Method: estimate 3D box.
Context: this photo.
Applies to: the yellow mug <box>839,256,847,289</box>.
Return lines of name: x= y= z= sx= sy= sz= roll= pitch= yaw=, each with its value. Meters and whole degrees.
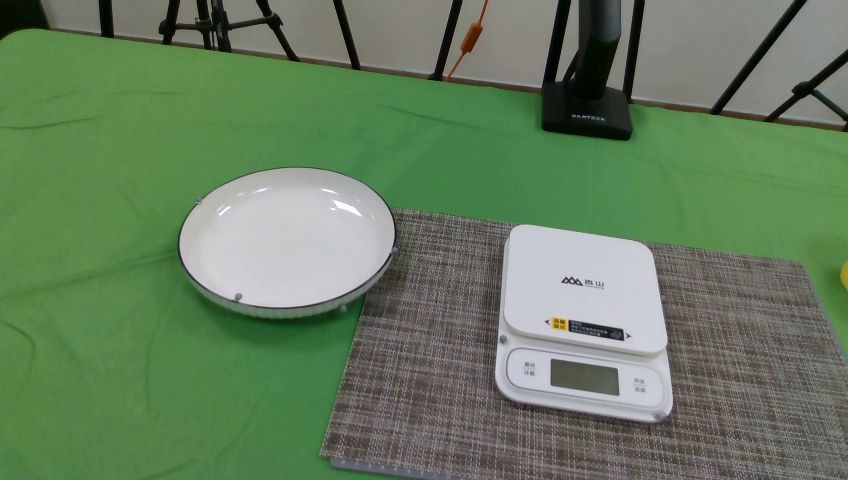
yellow mug: x=0.502 y=0.036 z=0.607 sx=0.100 sy=0.064 sz=0.129 roll=-25 pitch=52 yaw=-27

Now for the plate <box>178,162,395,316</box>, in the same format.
plate: x=-0.133 y=-0.002 z=0.606 sx=0.209 sy=0.038 sz=0.207 roll=3 pitch=44 yaw=-2

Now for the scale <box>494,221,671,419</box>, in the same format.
scale: x=0.144 y=0.065 z=0.562 sx=0.148 sy=0.032 sz=0.199 roll=8 pitch=44 yaw=3
